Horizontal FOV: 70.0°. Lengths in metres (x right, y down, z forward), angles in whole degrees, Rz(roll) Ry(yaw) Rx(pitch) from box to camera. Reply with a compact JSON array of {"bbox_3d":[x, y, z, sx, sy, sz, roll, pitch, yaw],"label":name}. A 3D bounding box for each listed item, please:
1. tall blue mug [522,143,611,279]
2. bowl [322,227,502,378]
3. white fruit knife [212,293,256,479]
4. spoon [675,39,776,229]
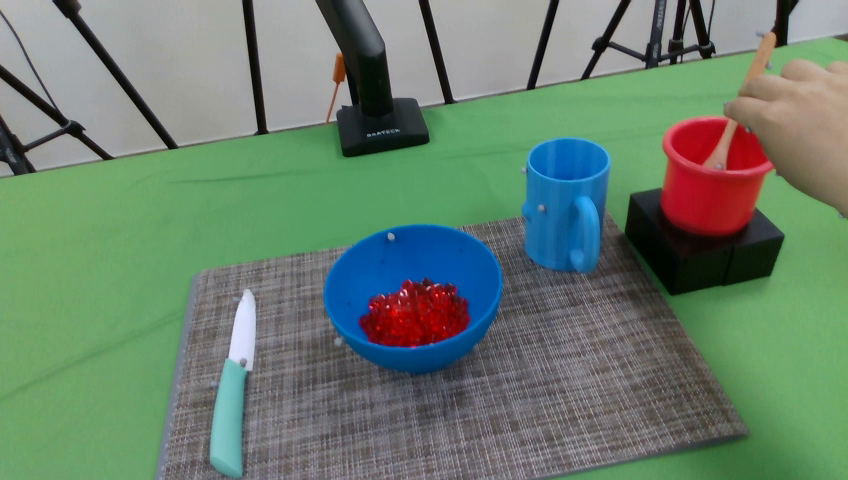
[{"bbox_3d":[0.148,-0.022,0.587,0.078,0.109,0.106,-28,44,-25],"label":"tall blue mug"},{"bbox_3d":[-0.007,0.066,0.526,0.151,0.077,0.150,-4,40,4],"label":"bowl"},{"bbox_3d":[-0.165,0.117,0.538,0.027,0.016,0.205,15,33,-21],"label":"white fruit knife"},{"bbox_3d":[0.285,-0.099,0.560,0.041,0.022,0.193,25,93,34],"label":"spoon"}]
